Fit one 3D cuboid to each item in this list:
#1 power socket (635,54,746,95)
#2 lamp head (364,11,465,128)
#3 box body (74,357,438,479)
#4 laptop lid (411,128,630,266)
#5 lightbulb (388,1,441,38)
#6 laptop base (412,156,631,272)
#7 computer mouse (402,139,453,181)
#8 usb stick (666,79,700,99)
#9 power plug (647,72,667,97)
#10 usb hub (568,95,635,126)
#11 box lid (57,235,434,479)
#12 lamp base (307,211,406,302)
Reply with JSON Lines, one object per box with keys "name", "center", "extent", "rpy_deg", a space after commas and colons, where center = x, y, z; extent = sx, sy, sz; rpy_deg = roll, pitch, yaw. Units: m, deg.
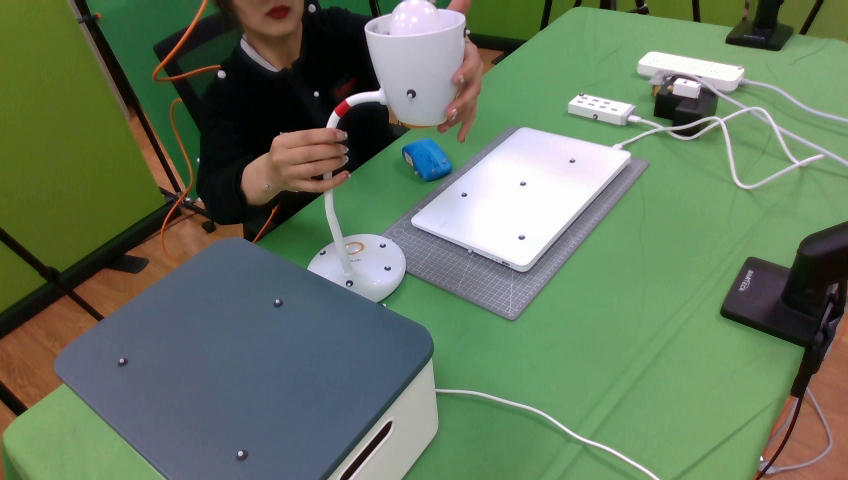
{"name": "power socket", "center": [0.564, -0.357, 1.293], "extent": [0.225, 0.033, 0.072], "rpy_deg": [24, 51, 33]}
{"name": "lamp head", "center": [-0.010, -0.191, 0.696], "extent": [0.112, 0.123, 0.112], "rpy_deg": [0, 34, 0]}
{"name": "box body", "center": [-0.189, 0.179, 0.702], "extent": [0.361, 0.161, 0.255], "rpy_deg": [22, 49, 32]}
{"name": "laptop lid", "center": [0.172, -0.093, 1.049], "extent": [0.239, 0.013, 0.358], "rpy_deg": [23, 49, 36]}
{"name": "lightbulb", "center": [-0.007, -0.214, 0.686], "extent": [0.059, 0.108, 0.059], "rpy_deg": [-6, 26, 3]}
{"name": "laptop base", "center": [0.176, -0.083, 1.055], "extent": [0.233, 0.023, 0.355], "rpy_deg": [21, 48, 36]}
{"name": "computer mouse", "center": [0.005, -0.159, 1.165], "extent": [0.063, 0.041, 0.116], "rpy_deg": [-21, 45, -17]}
{"name": "usb stick", "center": [0.492, -0.288, 1.152], "extent": [0.058, 0.027, 0.021], "rpy_deg": [20, 50, 34]}
{"name": "power plug", "center": [0.493, -0.321, 1.261], "extent": [0.073, 0.052, 0.035], "rpy_deg": [1, 20, -41]}
{"name": "usb hub", "center": [0.360, -0.263, 1.228], "extent": [0.124, 0.025, 0.049], "rpy_deg": [24, 49, 34]}
{"name": "box lid", "center": [-0.198, 0.123, 0.653], "extent": [0.368, 0.015, 0.264], "rpy_deg": [22, 49, 32]}
{"name": "lamp base", "center": [-0.114, -0.002, 0.887], "extent": [0.161, 0.181, 0.178], "rpy_deg": [-14, 44, -5]}
